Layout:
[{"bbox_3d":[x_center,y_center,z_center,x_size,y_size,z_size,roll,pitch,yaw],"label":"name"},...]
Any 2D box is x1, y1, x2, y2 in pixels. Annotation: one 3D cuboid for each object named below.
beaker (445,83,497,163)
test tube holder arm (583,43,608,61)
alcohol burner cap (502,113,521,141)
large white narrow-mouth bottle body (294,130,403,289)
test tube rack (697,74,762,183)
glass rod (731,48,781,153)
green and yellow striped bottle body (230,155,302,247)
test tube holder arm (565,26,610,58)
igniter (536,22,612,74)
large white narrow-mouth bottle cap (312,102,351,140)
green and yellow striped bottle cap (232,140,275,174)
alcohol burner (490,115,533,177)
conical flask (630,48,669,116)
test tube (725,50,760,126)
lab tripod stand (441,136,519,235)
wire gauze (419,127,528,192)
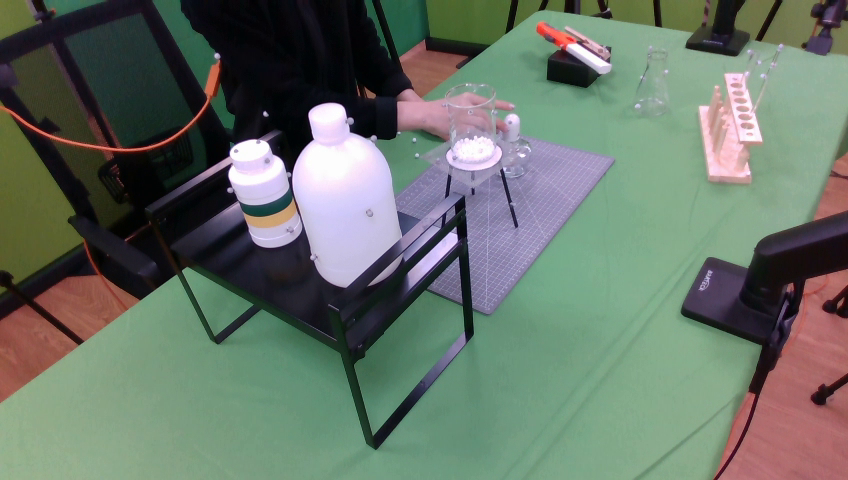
[{"bbox_3d":[0.073,-0.175,0.905,0.074,0.101,0.084,3,41,13],"label":"beaker"},{"bbox_3d":[0.379,-0.420,1.341,0.010,0.015,0.087,-39,41,10],"label":"test tube holder arm"},{"bbox_3d":[0.155,-0.200,1.058,0.034,0.048,0.033,-2,50,3],"label":"alcohol burner cap"},{"bbox_3d":[-0.082,-0.047,0.634,0.102,0.195,0.101,-4,40,3],"label":"large white narrow-mouth bottle body"},{"bbox_3d":[0.547,-0.208,1.095,0.066,0.085,0.242,5,42,15],"label":"test tube rack"},{"bbox_3d":[0.554,-0.228,1.014,0.008,0.200,0.008,1,44,-1],"label":"glass rod"},{"bbox_3d":[-0.188,-0.055,0.714,0.063,0.120,0.063,-4,41,4],"label":"green and yellow striped bottle body"},{"bbox_3d":[0.369,-0.451,1.373,0.013,0.015,0.177,-39,41,10],"label":"test tube holder arm"},{"bbox_3d":[0.330,-0.438,1.366,0.057,0.025,0.274,-11,41,-19],"label":"igniter"},{"bbox_3d":[-0.089,-0.114,0.578,0.038,0.024,0.037,-3,40,3],"label":"large white narrow-mouth bottle cap"},{"bbox_3d":[-0.192,-0.094,0.680,0.045,0.020,0.045,-5,39,5],"label":"green and yellow striped bottle cap"},{"bbox_3d":[0.157,-0.173,1.083,0.078,0.119,0.077,-3,43,4],"label":"alcohol burner"},{"bbox_3d":[0.456,-0.317,1.205,0.075,0.122,0.075,-4,41,4],"label":"conical flask"},{"bbox_3d":[0.570,-0.269,1.086,0.017,0.151,0.017,-1,45,2],"label":"test tube"},{"bbox_3d":[0.083,-0.086,0.976,0.148,0.132,0.147,-4,42,4],"label":"lab tripod stand"},{"bbox_3d":[0.076,-0.131,0.927,0.122,0.011,0.124,-35,50,-26],"label":"wire gauze"}]
